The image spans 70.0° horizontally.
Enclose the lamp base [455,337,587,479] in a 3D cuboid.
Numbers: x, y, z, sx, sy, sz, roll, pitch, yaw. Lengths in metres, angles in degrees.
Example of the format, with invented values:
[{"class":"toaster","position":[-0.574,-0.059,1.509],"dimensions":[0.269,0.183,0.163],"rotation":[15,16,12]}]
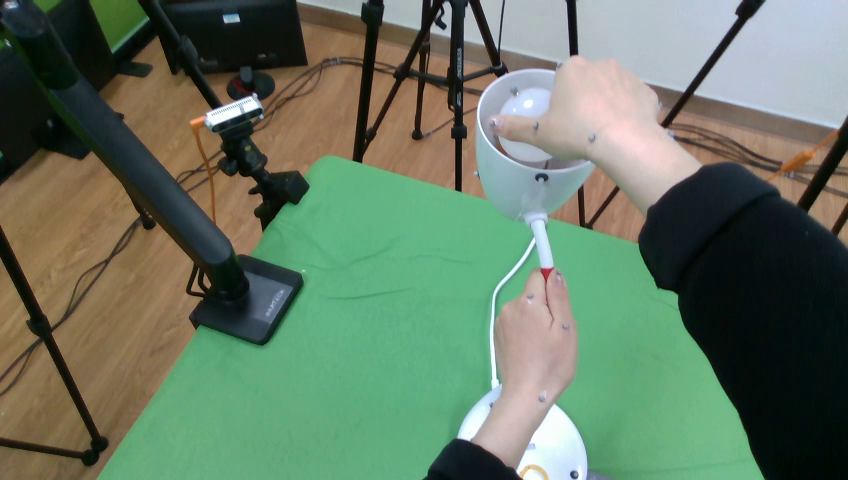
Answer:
[{"class":"lamp base","position":[0.114,0.201,0.684],"dimensions":[0.161,0.182,0.177],"rotation":[-18,53,-14]}]

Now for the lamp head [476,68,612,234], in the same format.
[{"class":"lamp head","position":[0.098,-0.069,0.541],"dimensions":[0.112,0.124,0.111],"rotation":[1,54,-1]}]

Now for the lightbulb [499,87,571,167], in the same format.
[{"class":"lightbulb","position":[0.093,-0.086,0.523],"dimensions":[0.059,0.108,0.059],"rotation":[-1,64,2]}]
